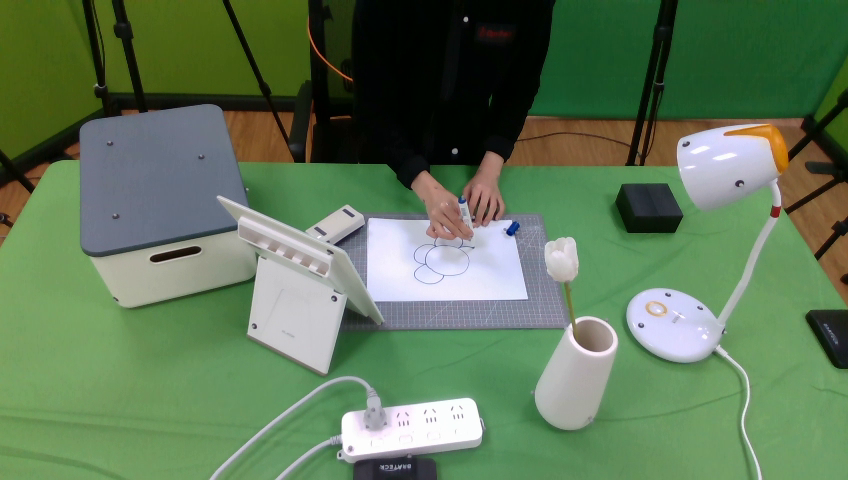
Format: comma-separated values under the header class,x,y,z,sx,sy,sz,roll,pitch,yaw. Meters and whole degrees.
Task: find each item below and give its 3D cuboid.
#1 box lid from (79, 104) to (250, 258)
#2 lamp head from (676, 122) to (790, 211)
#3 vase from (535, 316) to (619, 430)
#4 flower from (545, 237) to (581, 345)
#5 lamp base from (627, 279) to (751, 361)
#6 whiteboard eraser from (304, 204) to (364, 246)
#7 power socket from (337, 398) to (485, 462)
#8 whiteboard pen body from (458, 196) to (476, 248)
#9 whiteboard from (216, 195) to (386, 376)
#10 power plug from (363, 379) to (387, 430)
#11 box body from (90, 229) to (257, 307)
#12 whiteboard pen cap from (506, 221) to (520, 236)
class,x,y,z,sx,sy,sz,roll,pitch,yaw
box lid,-0.467,-0.121,1.075,0.264,0.015,0.369,-13,49,-17
lamp head,0.423,-0.104,0.819,0.122,0.113,0.112,-13,33,40
vase,0.229,0.200,0.901,0.098,0.201,0.097,3,46,-3
flower,0.213,0.137,0.846,0.038,0.364,0.044,22,55,40
lamp base,0.460,0.100,1.027,0.178,0.181,0.160,27,51,17
whiteboard eraser,-0.175,-0.022,1.188,0.055,0.042,0.112,36,53,26
power socket,-0.018,0.285,0.914,0.227,0.033,0.071,-4,46,-8
whiteboard pen body,0.084,-0.030,1.149,0.017,0.141,0.017,-9,47,10
whiteboard,-0.212,0.093,0.939,0.216,0.307,0.143,24,70,17
power plug,-0.071,0.252,0.911,0.035,0.053,0.072,3,40,0
box body,-0.471,-0.070,1.131,0.254,0.161,0.361,-14,49,-17
whiteboard pen cap,0.180,-0.023,1.234,0.018,0.018,0.033,27,52,20
